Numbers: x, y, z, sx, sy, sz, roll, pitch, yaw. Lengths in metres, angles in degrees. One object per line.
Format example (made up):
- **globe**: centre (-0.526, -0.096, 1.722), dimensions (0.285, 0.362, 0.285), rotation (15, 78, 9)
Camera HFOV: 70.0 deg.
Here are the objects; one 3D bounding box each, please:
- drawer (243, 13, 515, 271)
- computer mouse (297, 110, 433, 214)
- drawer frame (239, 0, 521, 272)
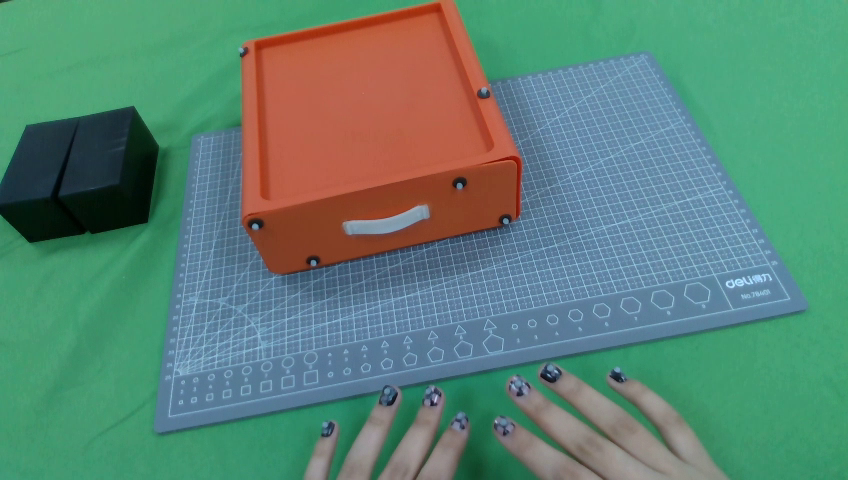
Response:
- **drawer**: centre (-0.045, -0.091, 0.505), dimensions (0.194, 0.074, 0.209), rotation (-13, 52, -1)
- **computer mouse**: centre (-0.050, -0.065, 0.488), dimensions (0.117, 0.041, 0.062), rotation (-18, 53, 12)
- **drawer frame**: centre (-0.045, -0.094, 0.505), dimensions (0.202, 0.083, 0.211), rotation (-14, 51, -2)
